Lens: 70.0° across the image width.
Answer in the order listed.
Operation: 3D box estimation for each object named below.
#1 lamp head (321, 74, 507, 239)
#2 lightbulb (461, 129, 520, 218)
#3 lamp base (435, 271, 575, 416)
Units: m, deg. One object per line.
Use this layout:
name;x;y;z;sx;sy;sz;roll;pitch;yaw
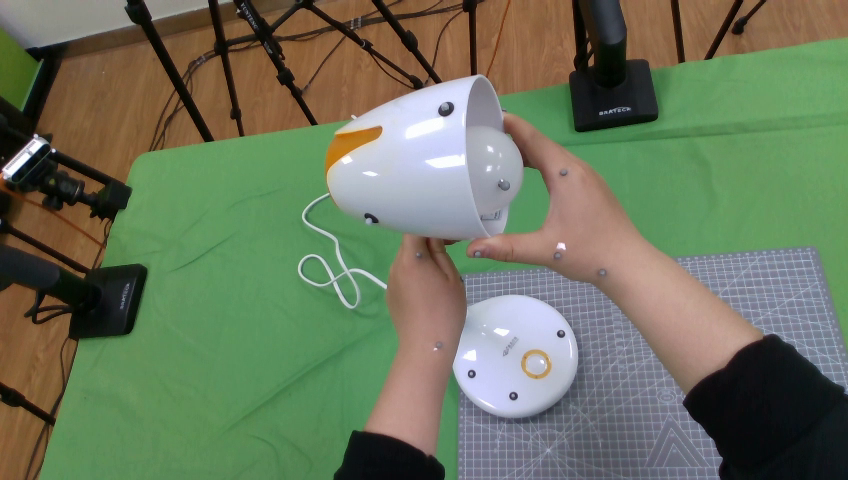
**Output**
lamp head;-0.008;-0.051;0.431;0.122;0.113;0.111;-6;60;26
lightbulb;0.013;-0.042;0.418;0.107;0.060;0.059;-7;60;26
lamp base;0.079;0.103;0.710;0.178;0.182;0.160;19;69;28
